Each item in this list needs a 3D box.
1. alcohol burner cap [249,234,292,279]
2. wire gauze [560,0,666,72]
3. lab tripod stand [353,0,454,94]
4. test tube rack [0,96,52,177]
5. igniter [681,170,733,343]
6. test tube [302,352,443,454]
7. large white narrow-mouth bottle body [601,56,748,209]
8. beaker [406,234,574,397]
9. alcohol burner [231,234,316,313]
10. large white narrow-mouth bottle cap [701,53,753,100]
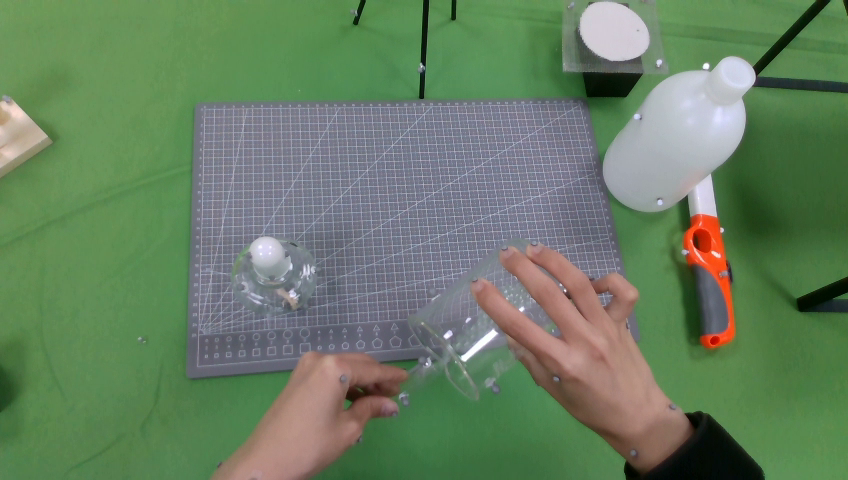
[{"bbox_3d":[-0.133,0.013,0.518,0.034,0.048,0.033,1,74,-4],"label":"alcohol burner cap"},{"bbox_3d":[0.218,-0.248,0.710,0.122,0.011,0.124,4,68,-6],"label":"wire gauze"},{"bbox_3d":[-0.009,-0.260,0.670,0.149,0.132,0.147,3,69,-8],"label":"lab tripod stand"},{"bbox_3d":[-0.487,-0.061,0.555,0.066,0.085,0.242,43,70,10],"label":"test tube rack"},{"bbox_3d":[0.310,-0.020,0.677,0.057,0.025,0.274,10,68,-17],"label":"igniter"},{"bbox_3d":[-0.044,0.132,0.478,0.150,0.017,0.017,-38,74,22],"label":"test tube"},{"bbox_3d":[0.259,-0.113,0.616,0.102,0.195,0.101,2,68,-6],"label":"large white narrow-mouth bottle body"},{"bbox_3d":[0.049,0.050,0.429,0.100,0.084,0.073,-38,77,-15],"label":"beaker"},{"bbox_3d":[-0.138,0.025,0.552,0.078,0.119,0.077,3,67,-8],"label":"alcohol burner"},{"bbox_3d":[0.268,-0.146,0.539,0.038,0.024,0.037,2,69,-6],"label":"large white narrow-mouth bottle cap"}]
